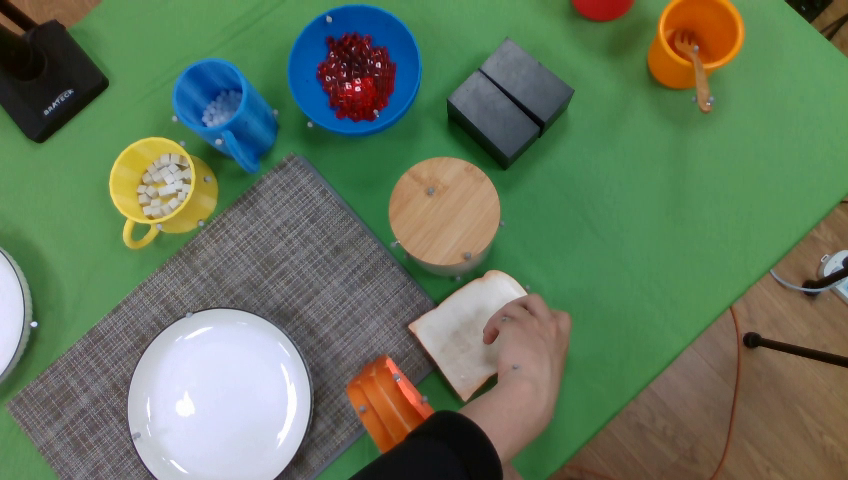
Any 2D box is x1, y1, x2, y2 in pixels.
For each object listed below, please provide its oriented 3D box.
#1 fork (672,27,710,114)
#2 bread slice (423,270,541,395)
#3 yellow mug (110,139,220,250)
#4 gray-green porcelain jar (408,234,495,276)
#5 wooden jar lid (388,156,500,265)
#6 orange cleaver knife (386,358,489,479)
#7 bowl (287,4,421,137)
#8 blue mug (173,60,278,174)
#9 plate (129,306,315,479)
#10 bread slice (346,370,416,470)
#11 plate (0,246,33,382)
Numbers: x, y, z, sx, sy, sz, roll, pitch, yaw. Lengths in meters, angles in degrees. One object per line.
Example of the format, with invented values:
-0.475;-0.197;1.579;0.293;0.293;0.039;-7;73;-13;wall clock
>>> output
0.288;-0.187;0.648;0.028;0.019;0.206;20;39;0;fork
0.073;0.101;0.704;0.131;0.019;0.104;-42;69;20;bread slice
-0.308;-0.047;0.707;0.100;0.064;0.130;26;85;8;yellow mug
0.025;-0.017;0.651;0.106;0.127;0.105;0;81;3;gray-green porcelain jar
0.020;-0.028;0.590;0.108;0.021;0.108;0;81;1;wooden jar lid
0.030;0.200;0.590;0.012;0.077;0.212;-38;105;-5;orange cleaver knife
-0.075;-0.184;0.707;0.151;0.077;0.151;-1;82;4;bowl
-0.218;-0.131;0.694;0.082;0.106;0.116;-22;81;0;blue mug
-0.221;0.179;0.678;0.209;0.038;0.208;-1;81;4;plate
-0.043;0.182;0.622;0.018;0.135;0.106;-35;80;-5;bread slice
-0.558;0.093;0.715;0.207;0.039;0.207;0;82;3;plate
